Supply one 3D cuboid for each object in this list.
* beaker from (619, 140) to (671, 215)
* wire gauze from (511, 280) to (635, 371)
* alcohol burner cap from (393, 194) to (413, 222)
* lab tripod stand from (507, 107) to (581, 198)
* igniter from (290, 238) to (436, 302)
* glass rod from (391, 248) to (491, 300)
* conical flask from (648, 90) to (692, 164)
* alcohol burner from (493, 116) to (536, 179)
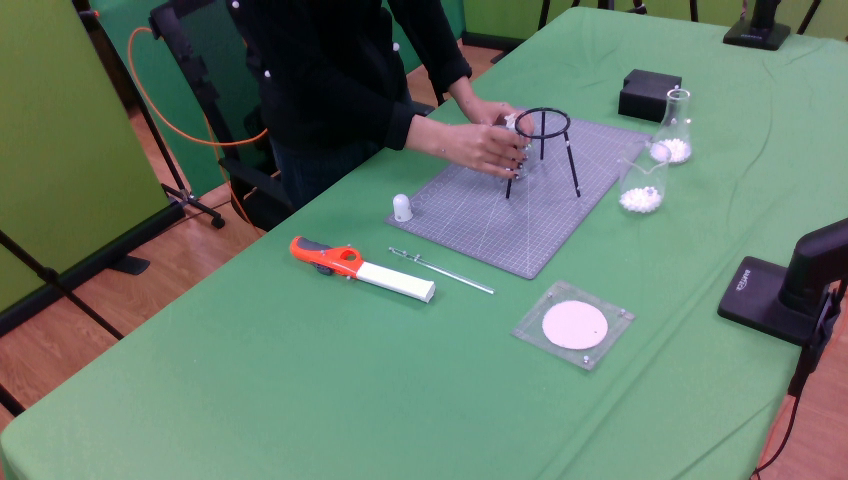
[{"bbox_3d":[0.352,-0.096,0.971,0.074,0.101,0.084,1,42,13],"label":"beaker"},{"bbox_3d":[0.203,0.114,0.822,0.120,0.011,0.125,25,52,35],"label":"wire gauze"},{"bbox_3d":[-0.038,-0.057,1.038,0.034,0.048,0.033,-6,41,5],"label":"alcohol burner cap"},{"bbox_3d":[0.201,-0.149,1.027,0.148,0.132,0.147,-7,42,6],"label":"lab tripod stand"},{"bbox_3d":[-0.106,0.043,0.949,0.274,0.025,0.057,16,57,27],"label":"igniter"},{"bbox_3d":[0.023,0.050,0.934,0.198,0.008,0.008,25,51,32],"label":"glass rod"},{"bbox_3d":[0.437,-0.199,1.057,0.075,0.122,0.075,-5,40,5],"label":"conical flask"},{"bbox_3d":[0.161,-0.169,1.078,0.078,0.119,0.077,-5,42,5],"label":"alcohol burner"}]
